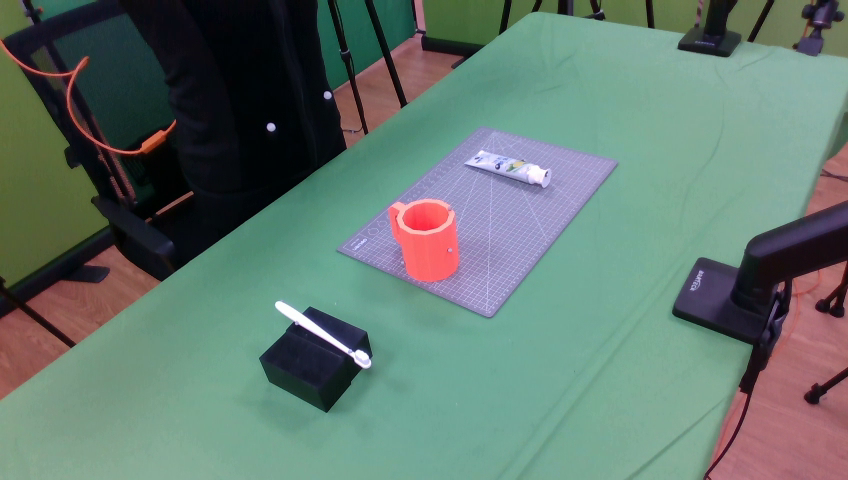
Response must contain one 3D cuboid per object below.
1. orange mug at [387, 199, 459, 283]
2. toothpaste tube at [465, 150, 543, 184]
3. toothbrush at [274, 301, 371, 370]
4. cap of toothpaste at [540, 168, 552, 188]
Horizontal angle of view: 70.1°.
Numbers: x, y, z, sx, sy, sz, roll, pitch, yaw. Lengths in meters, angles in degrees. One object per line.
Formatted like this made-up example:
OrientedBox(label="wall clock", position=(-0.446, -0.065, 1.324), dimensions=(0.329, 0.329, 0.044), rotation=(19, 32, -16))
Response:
OrientedBox(label="orange mug", position=(-0.006, -0.007, 0.923), dimensions=(0.125, 0.101, 0.084), rotation=(32, 54, 32))
OrientedBox(label="toothpaste tube", position=(0.154, -0.135, 1.108), dimensions=(0.163, 0.034, 0.055), rotation=(23, 43, 36))
OrientedBox(label="toothbrush", position=(-0.135, 0.119, 0.783), dimensions=(0.180, 0.017, 0.014), rotation=(25, 54, 32))
OrientedBox(label="cap of toothpaste", position=(0.213, -0.109, 1.059), dimensions=(0.011, 0.037, 0.037), rotation=(19, 47, 27))
